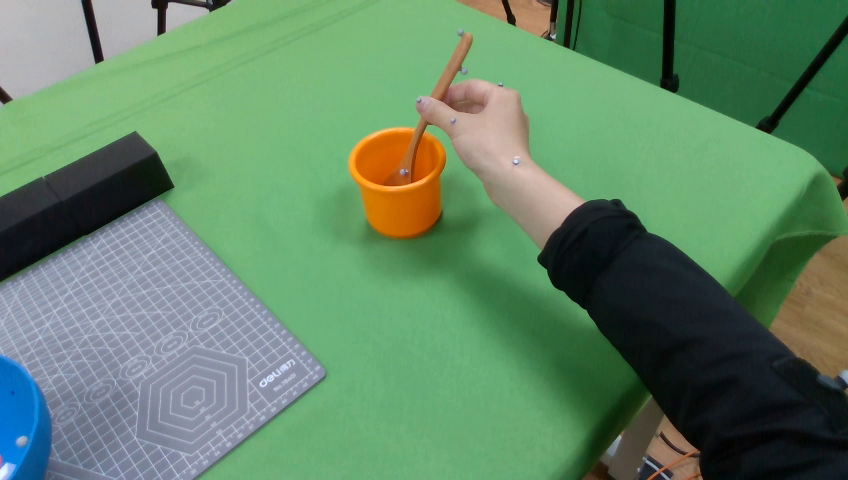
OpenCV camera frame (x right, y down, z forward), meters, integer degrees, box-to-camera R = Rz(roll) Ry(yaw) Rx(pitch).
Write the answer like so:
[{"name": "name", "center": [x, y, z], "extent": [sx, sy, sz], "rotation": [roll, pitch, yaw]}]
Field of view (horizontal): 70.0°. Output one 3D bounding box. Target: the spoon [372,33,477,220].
[{"name": "spoon", "center": [0.000, -0.101, 0.565], "extent": [0.022, 0.194, 0.041], "rotation": [-4, 40, -48]}]

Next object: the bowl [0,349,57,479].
[{"name": "bowl", "center": [-0.320, 0.158, 0.417], "extent": [0.151, 0.077, 0.150], "rotation": [-2, 49, 3]}]
